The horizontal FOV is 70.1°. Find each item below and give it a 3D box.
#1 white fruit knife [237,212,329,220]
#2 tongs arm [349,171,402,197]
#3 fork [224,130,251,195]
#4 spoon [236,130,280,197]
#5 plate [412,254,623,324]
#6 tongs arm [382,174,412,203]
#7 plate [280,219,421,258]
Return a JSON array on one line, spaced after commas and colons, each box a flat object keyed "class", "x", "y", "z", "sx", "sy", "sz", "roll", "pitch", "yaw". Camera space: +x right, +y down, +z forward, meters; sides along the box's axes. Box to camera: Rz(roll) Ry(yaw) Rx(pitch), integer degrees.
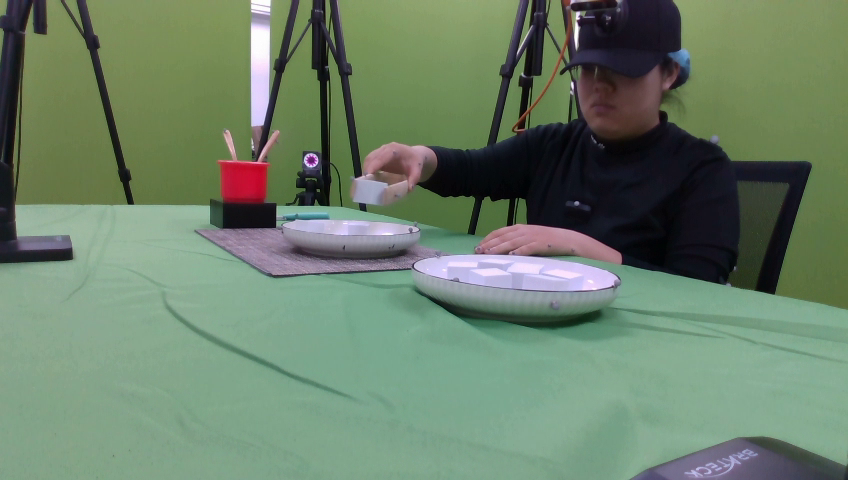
[{"class": "white fruit knife", "x": -0.304, "y": -0.050, "z": 1.328, "sx": 0.208, "sy": 0.016, "sz": 0.027, "roll": -3, "pitch": -19, "yaw": -30}, {"class": "tongs arm", "x": -0.070, "y": -0.092, "z": 0.972, "sx": 0.051, "sy": 0.026, "sz": 0.384, "roll": 9, "pitch": 8, "yaw": -1}, {"class": "fork", "x": -0.372, "y": -0.155, "z": 1.193, "sx": 0.028, "sy": 0.018, "sz": 0.206, "roll": -17, "pitch": 54, "yaw": -13}, {"class": "spoon", "x": -0.321, "y": -0.154, "z": 1.192, "sx": 0.041, "sy": 0.193, "sz": 0.022, "roll": 0, "pitch": -37, "yaw": 19}, {"class": "plate", "x": 0.090, "y": 0.047, "z": 0.609, "sx": 0.209, "sy": 0.038, "sz": 0.209, "roll": 2, "pitch": 7, "yaw": 0}, {"class": "tongs arm", "x": -0.043, "y": -0.087, "z": 0.971, "sx": 0.028, "sy": 0.028, "sz": 0.387, "roll": 6, "pitch": 8, "yaw": 3}, {"class": "plate", "x": -0.108, "y": -0.002, "z": 0.902, "sx": 0.208, "sy": 0.039, "sz": 0.207, "roll": 3, "pitch": 7, "yaw": 0}]
